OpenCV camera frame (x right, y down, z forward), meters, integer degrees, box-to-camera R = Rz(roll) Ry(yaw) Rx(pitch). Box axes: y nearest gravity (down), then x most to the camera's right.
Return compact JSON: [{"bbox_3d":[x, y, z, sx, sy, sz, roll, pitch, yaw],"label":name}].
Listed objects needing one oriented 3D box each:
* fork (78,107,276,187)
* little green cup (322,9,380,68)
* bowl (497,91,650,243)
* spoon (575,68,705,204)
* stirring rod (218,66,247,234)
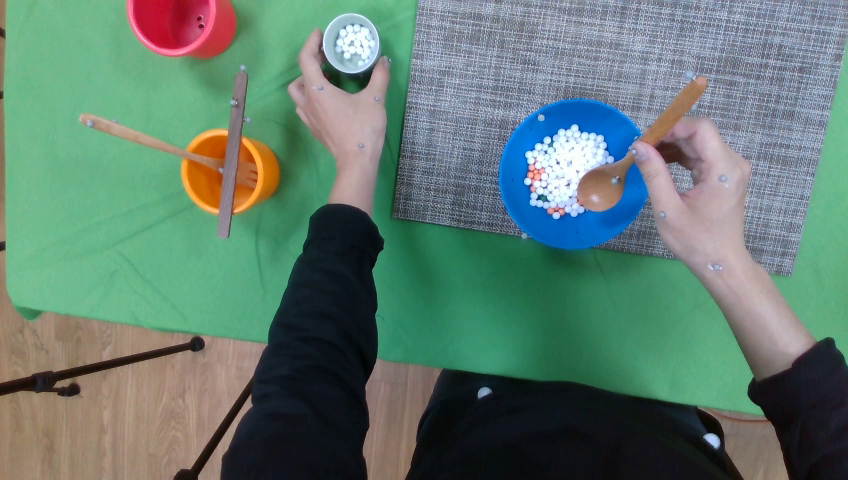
[{"bbox_3d":[-0.254,-0.097,0.646,0.209,0.018,0.028,18,107,-41],"label":"fork"},{"bbox_3d":[-0.077,-0.218,0.664,0.061,0.038,0.062,1,102,7],"label":"little green cup"},{"bbox_3d":[0.152,-0.076,0.639,0.151,0.076,0.152,1,100,6],"label":"bowl"},{"bbox_3d":[0.175,-0.078,0.504,0.041,0.194,0.021,41,70,7],"label":"spoon"},{"bbox_3d":[-0.202,-0.093,0.639,0.014,0.006,0.176,10,101,3],"label":"stirring rod"}]
